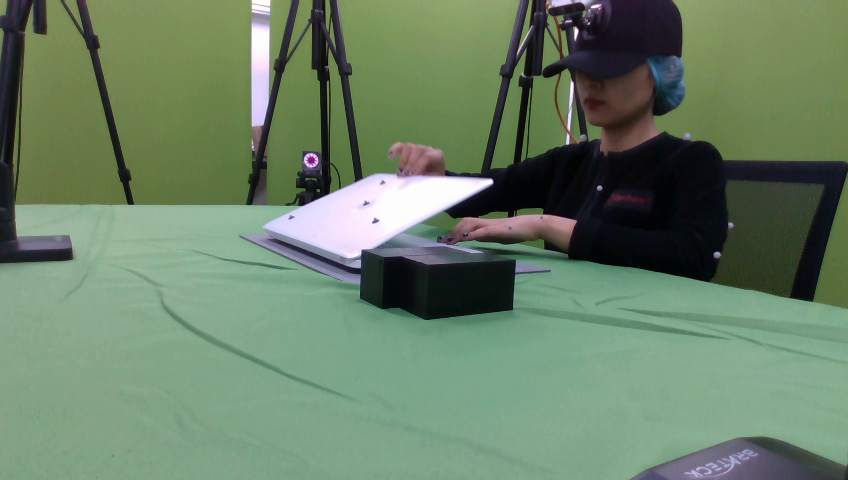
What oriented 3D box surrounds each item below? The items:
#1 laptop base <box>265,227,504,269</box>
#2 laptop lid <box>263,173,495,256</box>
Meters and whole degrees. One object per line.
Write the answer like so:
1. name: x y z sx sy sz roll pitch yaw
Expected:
1. laptop base: -0.077 0.009 0.914 0.237 0.023 0.352 1 7 -33
2. laptop lid: -0.085 -0.051 0.900 0.242 0.013 0.355 -27 20 -25
